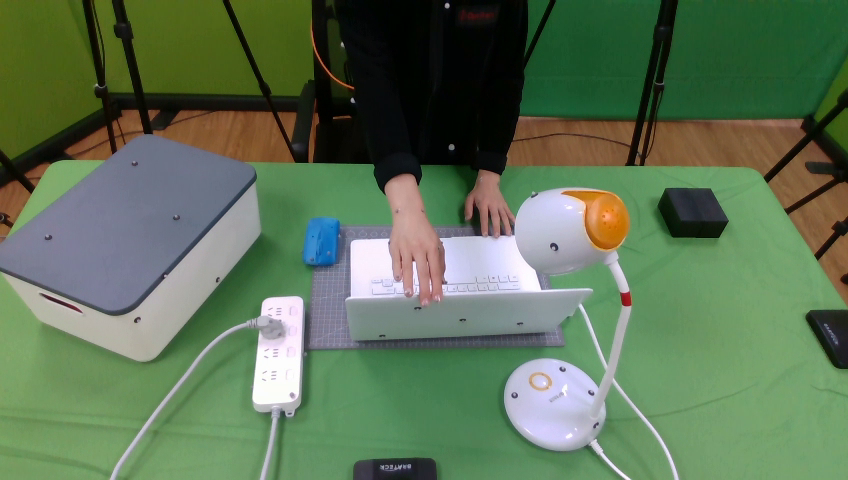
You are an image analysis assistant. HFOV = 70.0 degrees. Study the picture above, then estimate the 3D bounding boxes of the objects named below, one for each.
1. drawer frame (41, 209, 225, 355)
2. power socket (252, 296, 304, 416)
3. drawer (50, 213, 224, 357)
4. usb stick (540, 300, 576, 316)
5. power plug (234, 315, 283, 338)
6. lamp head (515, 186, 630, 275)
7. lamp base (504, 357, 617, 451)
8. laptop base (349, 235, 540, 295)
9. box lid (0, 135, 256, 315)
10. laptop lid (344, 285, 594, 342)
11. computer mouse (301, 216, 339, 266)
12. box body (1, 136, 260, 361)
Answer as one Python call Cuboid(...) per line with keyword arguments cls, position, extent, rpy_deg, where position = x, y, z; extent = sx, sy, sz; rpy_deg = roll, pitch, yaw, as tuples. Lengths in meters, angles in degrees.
Cuboid(cls="drawer frame", position=(-0.490, 0.066, 1.043), extent=(0.201, 0.083, 0.212), rpy_deg=(16, 54, 13))
Cuboid(cls="power socket", position=(-0.237, 0.182, 0.997), extent=(0.072, 0.033, 0.225), rpy_deg=(-3, 47, -5))
Cuboid(cls="drawer", position=(-0.492, 0.075, 1.057), extent=(0.194, 0.073, 0.211), rpy_deg=(18, 57, 10))
Cuboid(cls="usb stick", position=(0.239, 0.121, 1.083), extent=(0.059, 0.027, 0.021), rpy_deg=(-1, 51, -2))
Cuboid(cls="power plug", position=(-0.269, 0.144, 1.000), extent=(0.072, 0.053, 0.035), rpy_deg=(5, 47, 2))
Cuboid(cls="lamp head", position=(0.188, -0.013, 0.728), extent=(0.112, 0.112, 0.122), rpy_deg=(-25, 9, -25))
Cuboid(cls="lamp base", position=(0.220, 0.211, 0.902), extent=(0.160, 0.181, 0.178), rpy_deg=(-33, 59, -30))
Cuboid(cls="laptop base", position=(0.039, 0.081, 1.124), extent=(0.355, 0.023, 0.234), rpy_deg=(-2, 43, -6))
Cuboid(cls="box lid", position=(-0.480, -0.044, 1.002), extent=(0.263, 0.015, 0.370), rpy_deg=(18, 47, 12))
Cuboid(cls="laptop lid", position=(0.059, 0.118, 0.936), extent=(0.357, 0.242, 0.013), rpy_deg=(-1, 66, -7))
Cuboid(cls="computer mouse", position=(-0.200, -0.002, 1.169), extent=(0.063, 0.041, 0.116), rpy_deg=(3, 50, -3))
Cuboid(cls="box body", position=(-0.482, 0.006, 1.056), extent=(0.254, 0.161, 0.362), rpy_deg=(17, 47, 12))
